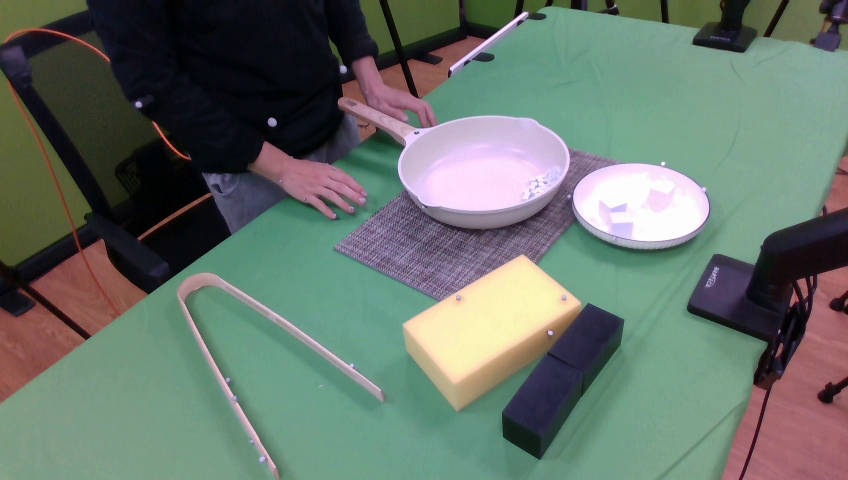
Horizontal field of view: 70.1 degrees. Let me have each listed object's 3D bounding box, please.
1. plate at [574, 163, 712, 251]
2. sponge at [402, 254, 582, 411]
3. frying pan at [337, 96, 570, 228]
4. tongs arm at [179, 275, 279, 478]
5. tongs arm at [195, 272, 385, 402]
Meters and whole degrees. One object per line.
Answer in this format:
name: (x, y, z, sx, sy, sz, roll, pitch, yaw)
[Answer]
plate: (0.344, -0.050, 0.966, 0.207, 0.039, 0.206, -4, 40, 4)
sponge: (0.089, 0.114, 0.791, 0.208, 0.061, 0.117, -28, 48, -23)
frying pan: (0.023, -0.167, 1.090, 0.484, 0.103, 0.308, 32, 52, 26)
tongs arm: (-0.260, 0.161, 0.807, 0.051, 0.026, 0.381, -29, 44, -25)
tongs arm: (-0.198, 0.125, 0.847, 0.384, 0.028, 0.028, 25, 52, 32)
